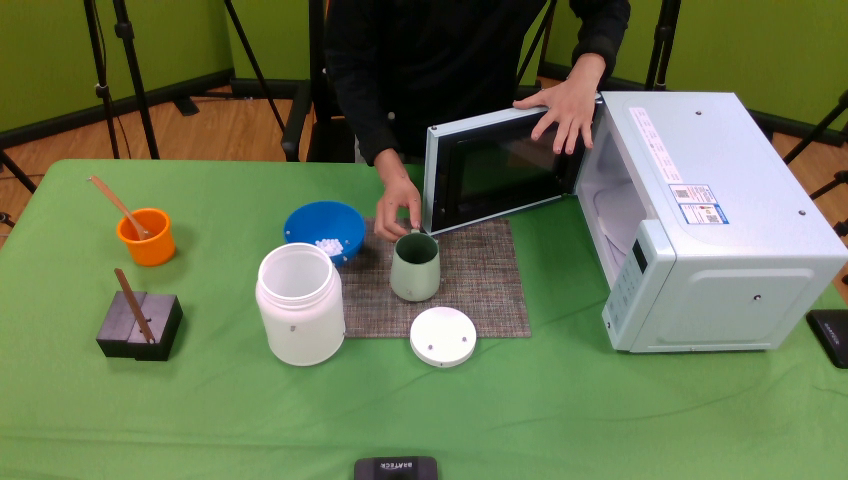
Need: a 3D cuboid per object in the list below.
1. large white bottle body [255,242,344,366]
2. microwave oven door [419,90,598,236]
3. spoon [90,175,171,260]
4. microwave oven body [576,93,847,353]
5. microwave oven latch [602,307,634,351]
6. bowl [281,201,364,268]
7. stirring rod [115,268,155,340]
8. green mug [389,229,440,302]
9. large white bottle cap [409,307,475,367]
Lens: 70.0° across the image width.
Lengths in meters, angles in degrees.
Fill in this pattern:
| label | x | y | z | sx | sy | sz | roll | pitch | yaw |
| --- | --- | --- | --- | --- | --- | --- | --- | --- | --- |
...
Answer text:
| label | x | y | z | sx | sy | sz | roll | pitch | yaw |
| --- | --- | --- | --- | --- | --- | --- | --- | --- | --- |
| large white bottle body | -0.196 | 0.102 | 0.967 | 0.131 | 0.185 | 0.130 | 2 | 49 | -2 |
| microwave oven door | 0.164 | -0.150 | 1.184 | 0.356 | 0.245 | 0.039 | -17 | 49 | -19 |
| spoon | -0.538 | -0.042 | 1.111 | 0.041 | 0.194 | 0.021 | -46 | 19 | -32 |
| microwave oven body | 0.475 | -0.041 | 1.110 | 0.326 | 0.261 | 0.438 | -1 | 45 | -4 |
| microwave oven latch | 0.332 | 0.153 | 1.044 | 0.030 | 0.029 | 0.078 | -1 | 45 | -4 |
| bowl | -0.187 | 0.005 | 1.137 | 0.151 | 0.077 | 0.150 | 3 | 46 | -3 |
| stirring rod | -0.479 | 0.102 | 0.999 | 0.014 | 0.006 | 0.175 | 8 | 32 | -50 |
| green mug | -0.017 | 0.039 | 1.100 | 0.092 | 0.105 | 0.124 | -1 | 46 | -4 |
| large white bottle cap | 0.031 | 0.165 | 1.041 | 0.115 | 0.018 | 0.114 | 2 | 47 | -2 |
